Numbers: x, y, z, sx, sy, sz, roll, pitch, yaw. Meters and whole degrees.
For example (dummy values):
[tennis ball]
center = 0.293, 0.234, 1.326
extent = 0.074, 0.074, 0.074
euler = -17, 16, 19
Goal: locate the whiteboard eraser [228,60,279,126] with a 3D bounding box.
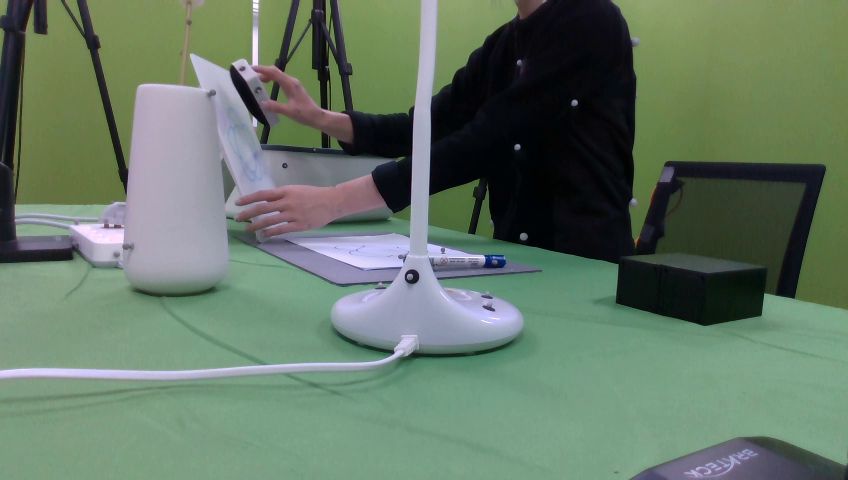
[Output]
[whiteboard eraser]
center = -0.286, -0.242, 1.011
extent = 0.055, 0.042, 0.113
euler = 47, -12, 28

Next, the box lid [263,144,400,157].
[box lid]
center = -0.263, -0.203, 1.369
extent = 0.262, 0.015, 0.373
euler = 9, 10, 39

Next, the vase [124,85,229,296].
[vase]
center = -0.244, -0.047, 0.598
extent = 0.098, 0.200, 0.098
euler = 3, 8, 0

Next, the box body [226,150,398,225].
[box body]
center = -0.265, -0.129, 1.380
extent = 0.253, 0.160, 0.366
euler = 8, 9, 39

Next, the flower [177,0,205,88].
[flower]
center = -0.243, -0.131, 0.609
extent = 0.044, 0.361, 0.038
euler = -5, -12, 11

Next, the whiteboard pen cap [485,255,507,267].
[whiteboard pen cap]
center = 0.093, 0.028, 0.809
extent = 0.033, 0.018, 0.018
euler = 1, 8, -24

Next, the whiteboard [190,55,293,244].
[whiteboard]
center = -0.362, -0.129, 1.029
extent = 0.144, 0.305, 0.217
euler = -18, 7, 3

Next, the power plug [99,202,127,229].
[power plug]
center = -0.415, -0.026, 0.848
extent = 0.073, 0.052, 0.035
euler = 6, 5, -28

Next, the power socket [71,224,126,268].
[power socket]
center = -0.409, 0.004, 0.793
extent = 0.072, 0.032, 0.225
euler = -2, 8, -37

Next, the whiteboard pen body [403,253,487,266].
[whiteboard pen body]
center = 0.040, 0.026, 0.785
extent = 0.141, 0.017, 0.017
euler = 1, 7, -24

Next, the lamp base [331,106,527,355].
[lamp base]
center = 0.006, -0.012, 0.478
extent = 0.161, 0.180, 0.179
euler = 2, 10, 2
